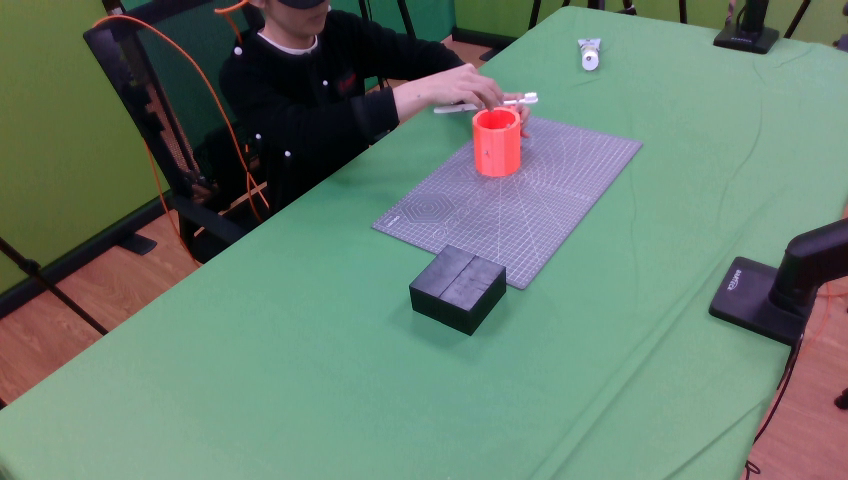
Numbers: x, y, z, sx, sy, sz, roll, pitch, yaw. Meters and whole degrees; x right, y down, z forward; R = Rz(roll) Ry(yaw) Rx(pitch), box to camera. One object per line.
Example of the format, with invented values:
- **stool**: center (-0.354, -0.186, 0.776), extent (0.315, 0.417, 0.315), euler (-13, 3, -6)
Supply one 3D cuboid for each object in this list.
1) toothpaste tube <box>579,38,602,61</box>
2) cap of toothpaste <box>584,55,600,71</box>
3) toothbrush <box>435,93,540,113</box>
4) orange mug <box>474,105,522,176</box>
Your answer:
- **toothpaste tube**: center (0.398, -0.449, 1.433), extent (0.055, 0.034, 0.164), euler (6, 38, 8)
- **cap of toothpaste**: center (0.381, -0.403, 1.372), extent (0.037, 0.037, 0.011), euler (1, 38, 10)
- **toothbrush**: center (0.109, -0.237, 1.050), extent (0.181, 0.017, 0.014), euler (-5, 54, 9)
- **orange mug**: center (0.145, -0.192, 1.114), extent (0.083, 0.101, 0.126), euler (18, 51, 27)
